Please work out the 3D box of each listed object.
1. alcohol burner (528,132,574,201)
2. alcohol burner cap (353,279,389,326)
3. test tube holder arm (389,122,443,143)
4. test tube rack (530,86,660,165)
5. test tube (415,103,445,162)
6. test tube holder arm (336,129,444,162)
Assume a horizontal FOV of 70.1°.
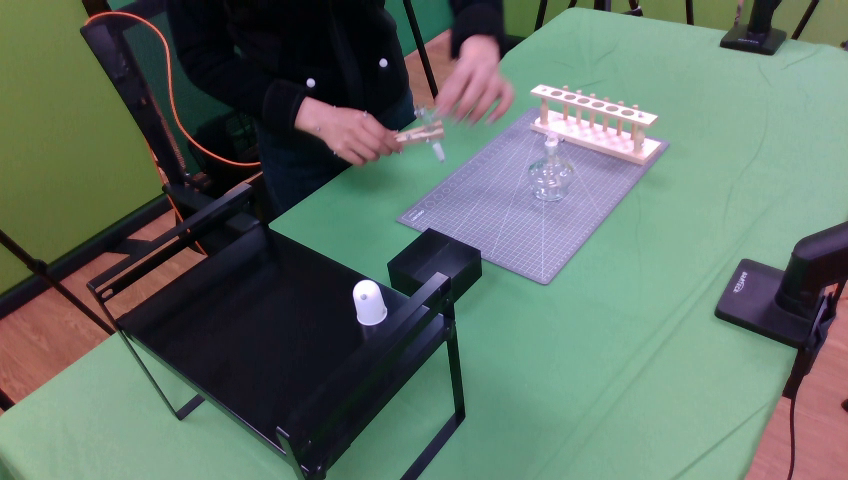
[{"bbox_3d":[0.214,-0.126,1.016,0.078,0.119,0.077,-5,38,5],"label":"alcohol burner"},{"bbox_3d":[-0.055,0.061,0.616,0.034,0.048,0.033,-4,41,4],"label":"alcohol burner cap"},{"bbox_3d":[-0.013,-0.167,0.959,0.088,0.015,0.010,-18,57,5],"label":"test tube holder arm"},{"bbox_3d":[0.320,-0.226,1.140,0.240,0.085,0.067,27,51,34],"label":"test tube rack"},{"bbox_3d":[0.012,-0.167,0.960,0.017,0.151,0.017,-6,65,13],"label":"test tube"},{"bbox_3d":[-0.055,-0.151,0.962,0.178,0.015,0.013,-13,58,9],"label":"test tube holder arm"}]
